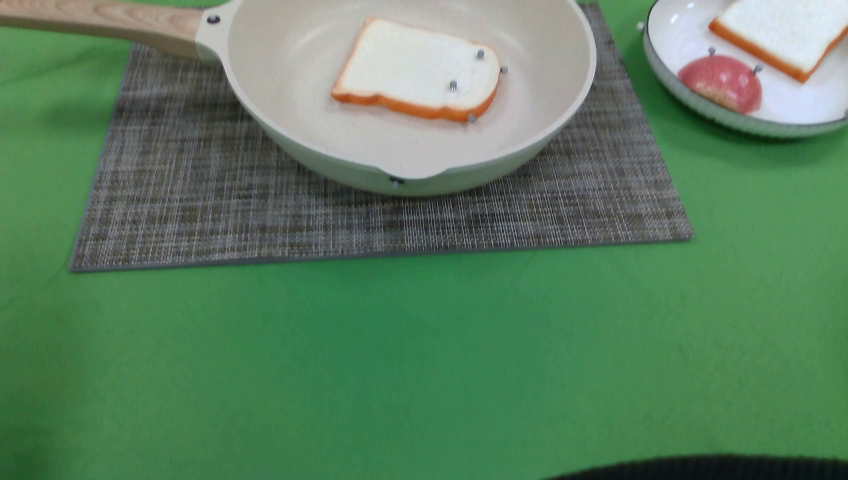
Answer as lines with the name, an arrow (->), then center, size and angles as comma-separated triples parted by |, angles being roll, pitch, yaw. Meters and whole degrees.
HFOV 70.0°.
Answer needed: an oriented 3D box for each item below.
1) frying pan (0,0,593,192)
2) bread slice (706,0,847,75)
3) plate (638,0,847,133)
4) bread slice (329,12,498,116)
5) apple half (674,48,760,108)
frying pan -> -0.116, -0.162, 0.483 | 0.489, 0.103, 0.304 | 6, 54, -9
bread slice -> 0.354, -0.232, 0.578 | 0.104, 0.019, 0.131 | 40, 83, 20
plate -> 0.299, -0.170, 0.559 | 0.208, 0.039, 0.205 | 2, 56, -2
bread slice -> -0.004, -0.153, 0.530 | 0.134, 0.018, 0.106 | 10, 57, 4
apple half -> 0.256, -0.144, 0.515 | 0.081, 0.033, 0.080 | 14, 33, -9
